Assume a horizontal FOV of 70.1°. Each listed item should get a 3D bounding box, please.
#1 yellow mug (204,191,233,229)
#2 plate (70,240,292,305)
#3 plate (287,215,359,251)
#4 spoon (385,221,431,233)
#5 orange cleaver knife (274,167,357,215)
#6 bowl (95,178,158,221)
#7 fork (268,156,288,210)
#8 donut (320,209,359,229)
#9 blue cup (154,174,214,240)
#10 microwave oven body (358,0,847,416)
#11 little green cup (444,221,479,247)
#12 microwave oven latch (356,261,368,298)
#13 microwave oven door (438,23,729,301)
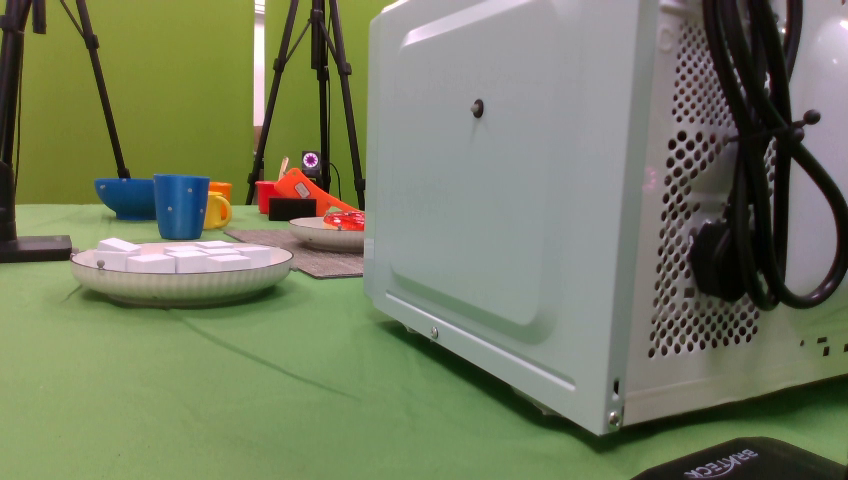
[{"bbox_3d":[-0.415,-0.057,1.132,0.130,0.064,0.100,6,8,16],"label":"yellow mug"},{"bbox_3d":[-0.242,0.031,0.618,0.208,0.039,0.207,2,8,0],"label":"plate"},{"bbox_3d":[-0.112,-0.012,0.960,0.209,0.038,0.209,3,8,0],"label":"plate"},{"bbox_3d":[-0.024,-0.029,1.188,0.041,0.021,0.194,-12,0,22],"label":"spoon"},{"bbox_3d":[-0.238,-0.091,1.381,0.212,0.077,0.012,31,0,-19],"label":"orange cleaver knife"},{"bbox_3d":[-0.576,-0.081,1.217,0.151,0.077,0.151,3,8,0],"label":"bowl"},{"bbox_3d":[-0.360,-0.144,1.508,0.028,0.018,0.207,1,49,0],"label":"fork"},{"bbox_3d":[-0.115,-0.023,0.961,0.099,0.048,0.099,5,8,0],"label":"donut"},{"bbox_3d":[-0.391,-0.053,0.978,0.093,0.100,0.092,3,6,0],"label":"blue cup"},{"bbox_3d":[0.211,-0.047,0.474,0.444,0.260,0.324,-1,8,-28],"label":"microwave oven body"},{"bbox_3d":[0.064,-0.011,1.035,0.061,0.038,0.061,1,9,0],"label":"little green cup"},{"bbox_3d":[-0.019,0.033,0.530,0.079,0.029,0.030,0,7,-26],"label":"microwave oven latch"},{"bbox_3d":[0.181,-0.072,0.620,0.358,0.243,0.039,-2,8,-29],"label":"microwave oven door"}]
